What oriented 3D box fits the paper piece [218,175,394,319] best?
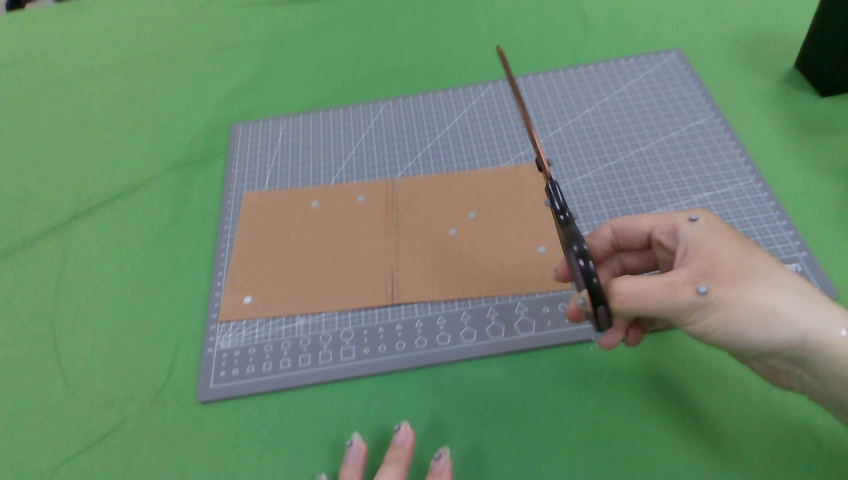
[{"bbox_3d":[-0.091,0.001,0.496,0.138,0.009,0.134,-5,49,5],"label":"paper piece"}]

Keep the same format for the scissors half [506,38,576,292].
[{"bbox_3d":[0.076,-0.034,0.358,0.013,0.175,0.040,-17,7,12],"label":"scissors half"}]

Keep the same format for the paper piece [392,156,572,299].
[{"bbox_3d":[0.041,-0.013,0.486,0.135,0.004,0.134,-5,51,4],"label":"paper piece"}]

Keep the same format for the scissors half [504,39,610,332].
[{"bbox_3d":[0.072,-0.034,0.339,0.013,0.040,0.174,-18,80,7],"label":"scissors half"}]
